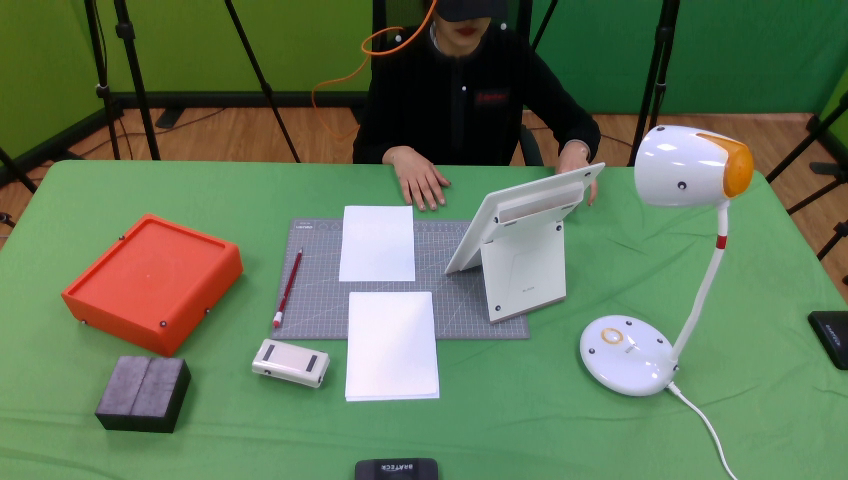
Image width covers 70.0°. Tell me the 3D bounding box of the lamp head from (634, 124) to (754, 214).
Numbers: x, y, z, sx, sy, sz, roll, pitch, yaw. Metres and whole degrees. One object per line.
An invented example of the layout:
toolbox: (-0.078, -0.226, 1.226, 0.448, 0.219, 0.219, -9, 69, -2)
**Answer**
lamp head: (0.351, -0.089, 0.775, 0.112, 0.113, 0.122, -30, 30, -28)

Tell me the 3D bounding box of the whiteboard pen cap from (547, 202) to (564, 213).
whiteboard pen cap: (0.276, -0.068, 1.276, 0.033, 0.018, 0.018, -19, 50, -15)

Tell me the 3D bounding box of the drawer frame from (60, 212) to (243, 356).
drawer frame: (-0.462, 0.070, 1.053, 0.201, 0.083, 0.213, 18, 48, 12)

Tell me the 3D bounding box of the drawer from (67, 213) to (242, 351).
drawer: (-0.461, 0.068, 1.056, 0.194, 0.073, 0.211, 19, 48, 13)

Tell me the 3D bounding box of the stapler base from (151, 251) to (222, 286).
stapler base: (-0.431, 0.047, 1.103, 0.130, 0.024, 0.041, 17, 34, 12)

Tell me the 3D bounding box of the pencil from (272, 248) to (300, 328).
pencil: (-0.248, 0.081, 1.104, 0.012, 0.012, 0.193, 6, 44, 1)

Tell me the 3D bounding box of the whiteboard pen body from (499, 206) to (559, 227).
whiteboard pen body: (0.221, -0.052, 1.261, 0.141, 0.017, 0.017, -16, 49, -17)

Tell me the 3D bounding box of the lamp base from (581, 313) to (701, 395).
lamp base: (0.361, 0.144, 0.973, 0.178, 0.181, 0.160, 34, 53, 23)

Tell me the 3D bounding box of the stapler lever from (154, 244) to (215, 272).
stapler lever: (-0.430, 0.025, 1.088, 0.118, 0.040, 0.027, 16, 34, 13)

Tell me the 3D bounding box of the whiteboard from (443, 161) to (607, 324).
whiteboard: (0.185, 0.026, 1.028, 0.217, 0.306, 0.143, -15, 68, -18)

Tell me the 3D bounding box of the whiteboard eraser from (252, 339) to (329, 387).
whiteboard eraser: (-0.215, 0.199, 0.976, 0.112, 0.042, 0.055, 12, 45, 7)
